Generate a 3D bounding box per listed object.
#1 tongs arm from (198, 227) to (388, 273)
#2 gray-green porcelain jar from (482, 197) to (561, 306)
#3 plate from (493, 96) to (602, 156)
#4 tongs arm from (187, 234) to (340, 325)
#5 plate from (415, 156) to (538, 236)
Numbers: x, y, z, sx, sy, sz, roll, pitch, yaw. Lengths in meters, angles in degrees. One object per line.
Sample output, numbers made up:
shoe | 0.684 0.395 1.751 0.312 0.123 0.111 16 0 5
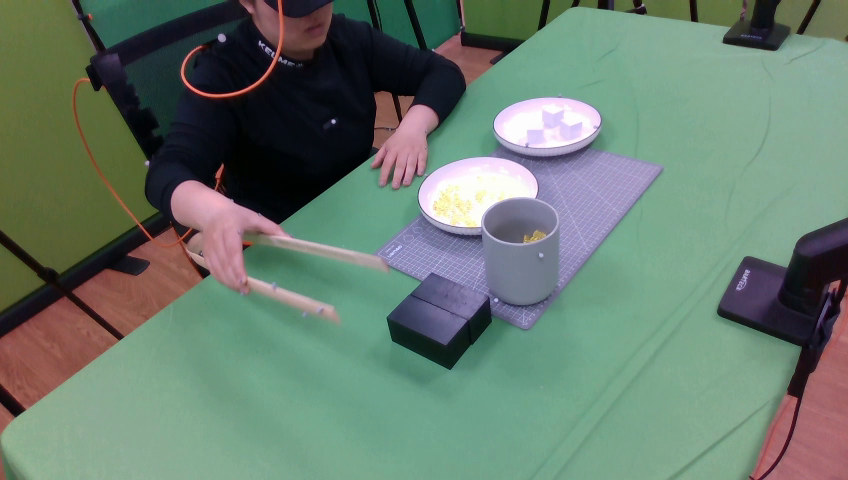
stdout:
tongs arm | -0.198 0.012 0.853 0.384 0.028 0.028 8 51 38
gray-green porcelain jar | 0.138 0.020 0.846 0.106 0.127 0.105 -5 40 5
plate | 0.238 -0.218 1.179 0.209 0.038 0.208 -4 39 4
tongs arm | -0.229 0.045 0.827 0.381 0.027 0.051 12 50 41
plate | 0.090 -0.072 1.034 0.207 0.039 0.206 -5 40 5
